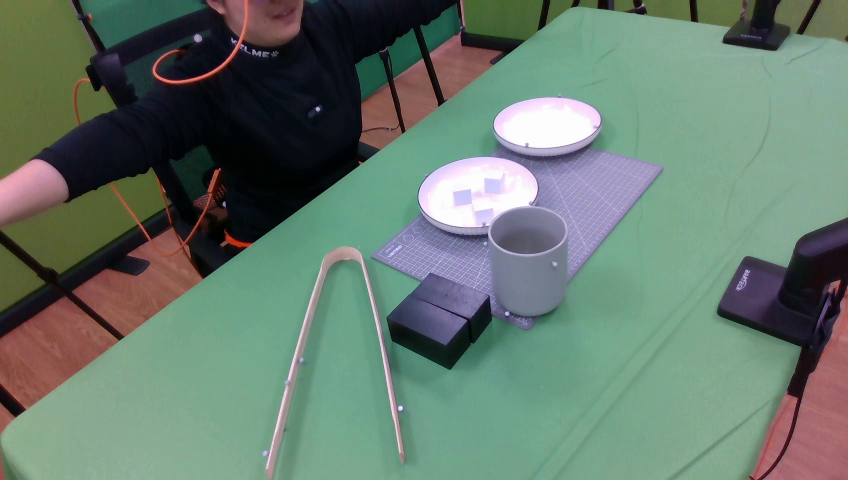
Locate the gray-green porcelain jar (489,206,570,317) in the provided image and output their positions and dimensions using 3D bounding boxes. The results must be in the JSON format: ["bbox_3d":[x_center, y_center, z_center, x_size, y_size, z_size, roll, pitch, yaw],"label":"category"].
[{"bbox_3d":[0.145,0.034,0.828,0.106,0.127,0.105,-5,40,5],"label":"gray-green porcelain jar"}]

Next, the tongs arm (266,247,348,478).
[{"bbox_3d":[-0.151,0.143,0.831,0.051,0.026,0.383,-5,39,5],"label":"tongs arm"}]

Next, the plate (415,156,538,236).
[{"bbox_3d":[0.090,-0.072,1.034,0.207,0.039,0.206,-5,40,5],"label":"plate"}]

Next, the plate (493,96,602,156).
[{"bbox_3d":[0.238,-0.218,1.179,0.209,0.038,0.208,-4,39,4],"label":"plate"}]

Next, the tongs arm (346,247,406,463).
[{"bbox_3d":[-0.069,0.133,0.832,0.028,0.028,0.384,-16,40,-4],"label":"tongs arm"}]
